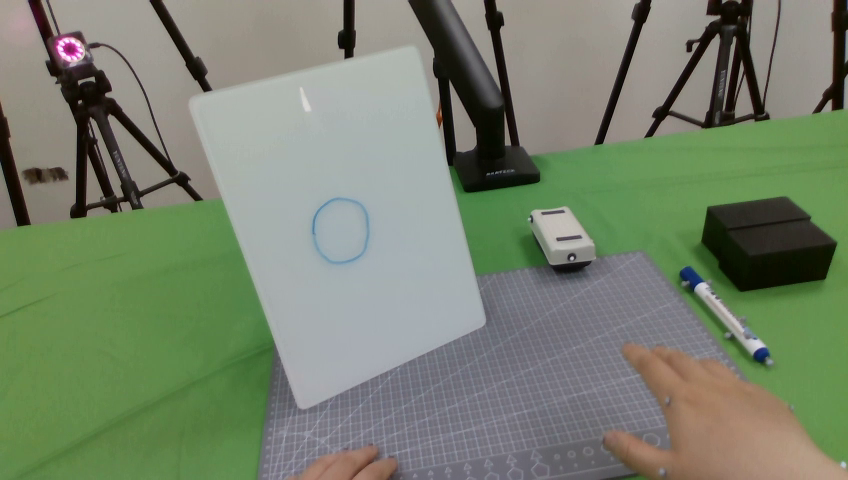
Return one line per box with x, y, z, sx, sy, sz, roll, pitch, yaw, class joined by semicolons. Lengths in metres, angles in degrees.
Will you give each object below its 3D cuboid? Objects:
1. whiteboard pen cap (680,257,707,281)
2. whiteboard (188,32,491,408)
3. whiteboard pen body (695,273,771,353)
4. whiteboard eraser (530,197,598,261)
0.304;0.034;0.680;0.018;0.018;0.033;-10;33;-5;whiteboard pen cap
-0.088;-0.029;0.630;0.217;0.307;0.143;-22;18;-20;whiteboard
0.314;0.066;0.633;0.017;0.017;0.139;-10;34;-5;whiteboard pen body
0.171;-0.014;0.751;0.055;0.042;0.111;-9;30;-1;whiteboard eraser
